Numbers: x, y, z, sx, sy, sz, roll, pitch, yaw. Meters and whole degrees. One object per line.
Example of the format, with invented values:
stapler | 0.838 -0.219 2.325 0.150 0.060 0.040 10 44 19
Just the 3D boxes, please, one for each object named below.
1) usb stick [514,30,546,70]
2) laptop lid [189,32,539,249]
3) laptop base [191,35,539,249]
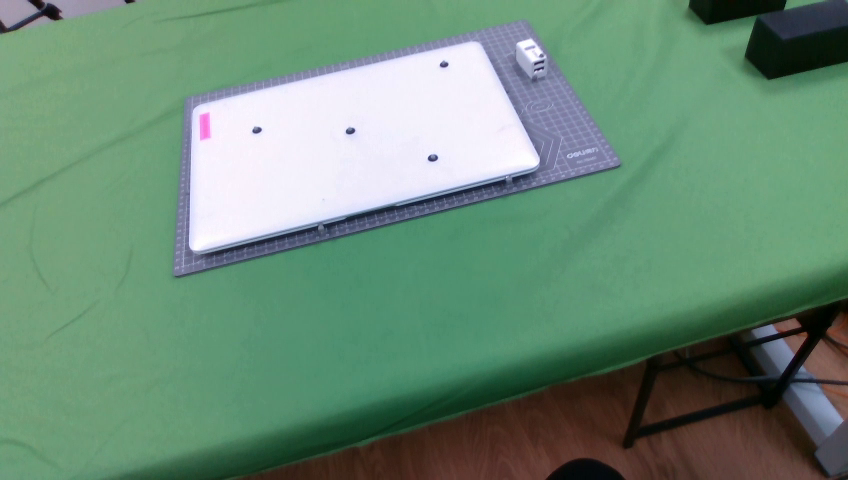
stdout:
usb stick | 0.122 -0.227 0.714 0.021 0.027 0.058 -19 47 -5
laptop lid | -0.079 -0.122 0.653 0.357 0.013 0.239 -14 52 -2
laptop base | -0.078 -0.116 0.663 0.354 0.023 0.233 -15 53 -3
